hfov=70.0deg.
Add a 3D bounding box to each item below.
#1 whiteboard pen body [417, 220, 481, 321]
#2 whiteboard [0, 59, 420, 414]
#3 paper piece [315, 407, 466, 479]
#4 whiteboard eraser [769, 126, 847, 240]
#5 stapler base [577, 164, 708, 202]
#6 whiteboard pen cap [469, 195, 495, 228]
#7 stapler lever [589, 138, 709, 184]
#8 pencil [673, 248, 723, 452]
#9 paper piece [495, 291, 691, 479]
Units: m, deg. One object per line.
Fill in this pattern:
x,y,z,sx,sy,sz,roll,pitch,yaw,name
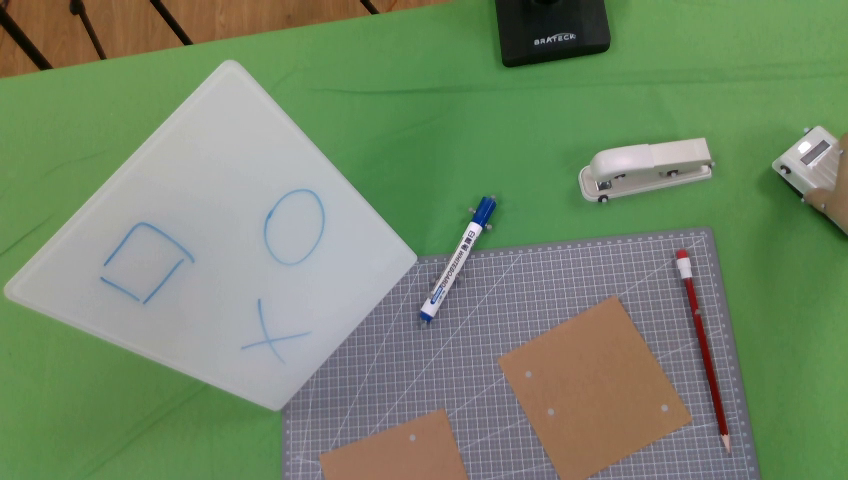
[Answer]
0.032,0.021,0.632,0.017,0.017,0.140,27,80,16,whiteboard pen body
-0.179,-0.006,0.557,0.217,0.309,0.142,-46,52,-4,whiteboard
-0.024,0.248,0.583,0.135,0.004,0.135,-20,74,2,paper piece
0.394,-0.052,0.581,0.055,0.042,0.112,-40,74,1,whiteboard eraser
0.226,-0.073,0.626,0.130,0.024,0.041,-12,76,4,stapler base
0.061,-0.029,0.640,0.018,0.018,0.033,25,80,15,whiteboard pen cap
0.224,-0.080,0.602,0.118,0.040,0.026,-12,76,5,stapler lever
0.261,0.101,0.576,0.012,0.012,0.193,-9,76,7,pencil
0.159,0.141,0.583,0.136,0.009,0.137,-29,74,5,paper piece
